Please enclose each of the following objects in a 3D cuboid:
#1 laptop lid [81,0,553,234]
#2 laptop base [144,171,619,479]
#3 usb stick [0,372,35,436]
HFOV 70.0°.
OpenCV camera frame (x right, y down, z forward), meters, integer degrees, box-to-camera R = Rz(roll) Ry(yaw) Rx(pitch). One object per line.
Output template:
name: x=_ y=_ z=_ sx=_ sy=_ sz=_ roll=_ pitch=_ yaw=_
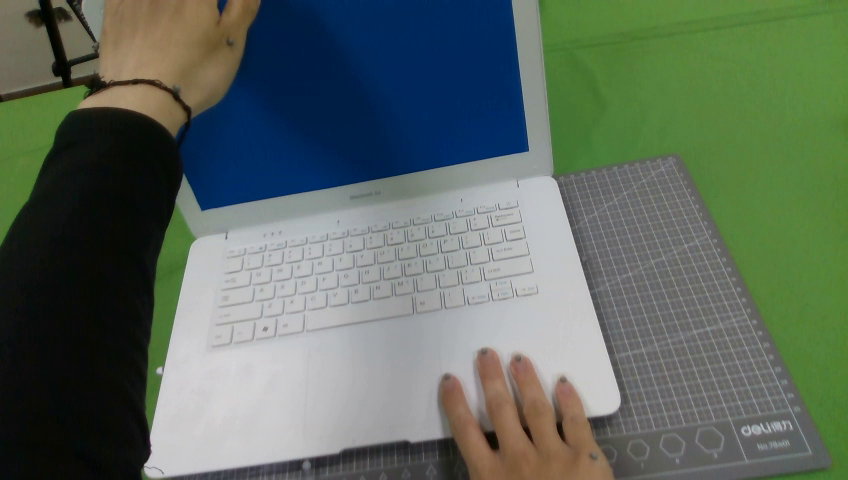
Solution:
laptop lid: x=-0.075 y=-0.127 z=0.517 sx=0.356 sy=0.244 sz=0.013 roll=-11 pitch=33 yaw=6
laptop base: x=-0.044 y=0.060 z=0.505 sx=0.354 sy=0.023 sz=0.233 roll=-10 pitch=54 yaw=5
usb stick: x=-0.355 y=0.135 z=0.510 sx=0.021 sy=0.027 sz=0.059 roll=5 pitch=50 yaw=19
